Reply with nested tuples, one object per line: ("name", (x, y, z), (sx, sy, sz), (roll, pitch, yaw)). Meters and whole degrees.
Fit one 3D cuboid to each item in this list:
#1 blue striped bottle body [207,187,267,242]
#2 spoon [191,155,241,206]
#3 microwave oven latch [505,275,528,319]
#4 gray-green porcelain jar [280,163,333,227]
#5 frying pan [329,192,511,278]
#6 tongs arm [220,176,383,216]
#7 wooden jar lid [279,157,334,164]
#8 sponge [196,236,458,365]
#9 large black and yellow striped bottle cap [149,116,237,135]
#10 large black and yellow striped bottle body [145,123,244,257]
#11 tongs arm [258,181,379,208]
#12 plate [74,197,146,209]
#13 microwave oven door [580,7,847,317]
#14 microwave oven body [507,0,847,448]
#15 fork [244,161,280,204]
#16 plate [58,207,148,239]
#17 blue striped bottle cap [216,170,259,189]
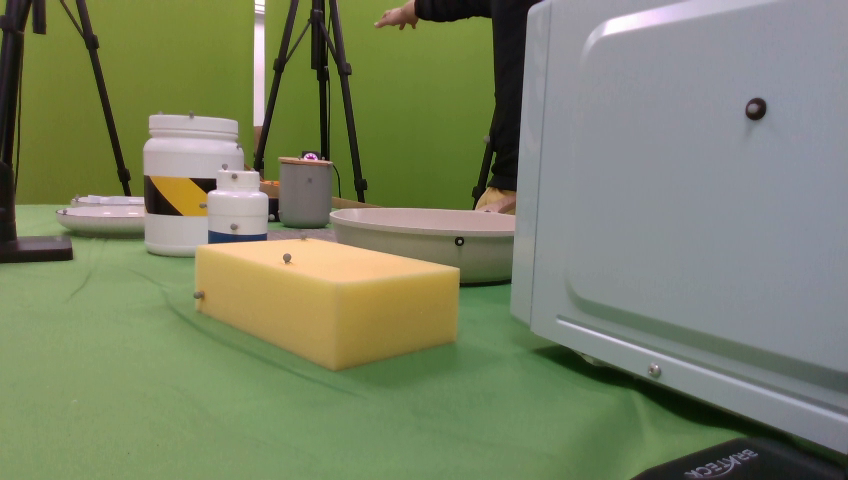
("blue striped bottle body", (-0.204, -0.016, 0.661), (0.063, 0.120, 0.063), (2, 7, 0))
("spoon", (-0.489, -0.136, 1.417), (0.041, 0.021, 0.194), (2, -35, 19))
("microwave oven latch", (0.100, 0.041, 0.471), (0.079, 0.029, 0.030), (-1, 7, -28))
("gray-green porcelain jar", (-0.238, -0.092, 1.221), (0.106, 0.126, 0.106), (1, 7, 0))
("frying pan", (0.071, -0.030, 0.883), (0.305, 0.102, 0.490), (7, 17, 27))
("tongs arm", (-0.286, -0.104, 1.445), (0.389, 0.027, 0.028), (10, -4, -23))
("wooden jar lid", (-0.237, -0.154, 1.213), (0.108, 0.020, 0.108), (6, 9, -1))
("sponge", (-0.087, 0.039, 0.500), (0.206, 0.061, 0.119), (8, 9, 44))
("large black and yellow striped bottle cap", (-0.319, -0.158, 0.841), (0.115, 0.019, 0.115), (3, 7, 0))
("large black and yellow striped bottle body", (-0.320, -0.075, 0.851), (0.131, 0.184, 0.130), (2, 8, 0))
("tongs arm", (-0.242, -0.095, 1.374), (0.387, 0.026, 0.050), (9, 0, -37))
("plate", (-0.596, -0.062, 1.238), (0.208, 0.039, 0.207), (2, 8, 0))
("microwave oven door", (0.294, -0.067, 0.570), (0.358, 0.243, 0.039), (-3, 9, -31))
("microwave oven body", (0.331, -0.042, 0.425), (0.444, 0.260, 0.324), (-2, 8, -31))
("fork", (-0.399, -0.144, 1.489), (0.028, 0.018, 0.208), (23, -23, 47))
("plate", (-0.496, -0.030, 1.022), (0.209, 0.038, 0.209), (2, 8, 0))
("blue striped bottle cap", (-0.201, -0.066, 0.654), (0.044, 0.020, 0.044), (0, 5, 0))
